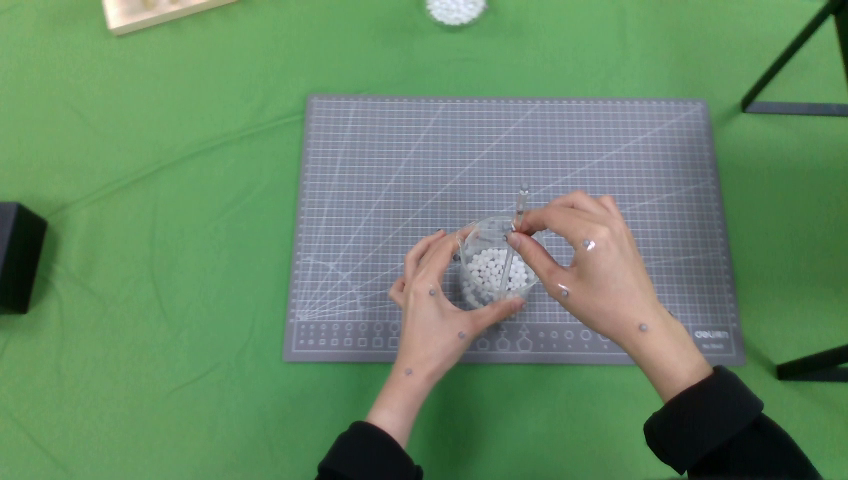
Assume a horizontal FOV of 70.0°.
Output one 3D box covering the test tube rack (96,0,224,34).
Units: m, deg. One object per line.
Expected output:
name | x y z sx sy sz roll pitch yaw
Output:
test tube rack | -0.267 -0.323 0.691 0.242 0.085 0.066 -20 72 -7

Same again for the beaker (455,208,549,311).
beaker | 0.065 0.022 0.559 0.084 0.101 0.073 24 73 9

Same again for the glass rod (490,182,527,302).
glass rod | 0.067 0.010 0.501 0.008 0.201 0.008 0 62 0

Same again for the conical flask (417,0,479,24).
conical flask | 0.028 -0.306 0.669 0.075 0.122 0.075 0 71 0
